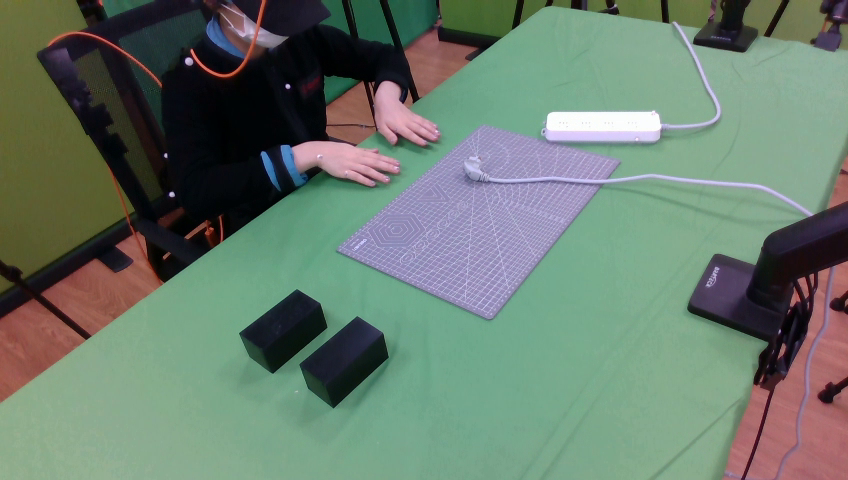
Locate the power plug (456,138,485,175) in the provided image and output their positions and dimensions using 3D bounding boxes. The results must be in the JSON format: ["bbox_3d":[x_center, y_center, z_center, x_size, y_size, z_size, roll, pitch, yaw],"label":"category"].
[{"bbox_3d":[0.080,-0.152,1.088,0.052,0.072,0.035,-15,15,45],"label":"power plug"}]

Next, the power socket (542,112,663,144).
[{"bbox_3d":[0.342,-0.216,1.164,0.226,0.033,0.072,3,43,12],"label":"power socket"}]
